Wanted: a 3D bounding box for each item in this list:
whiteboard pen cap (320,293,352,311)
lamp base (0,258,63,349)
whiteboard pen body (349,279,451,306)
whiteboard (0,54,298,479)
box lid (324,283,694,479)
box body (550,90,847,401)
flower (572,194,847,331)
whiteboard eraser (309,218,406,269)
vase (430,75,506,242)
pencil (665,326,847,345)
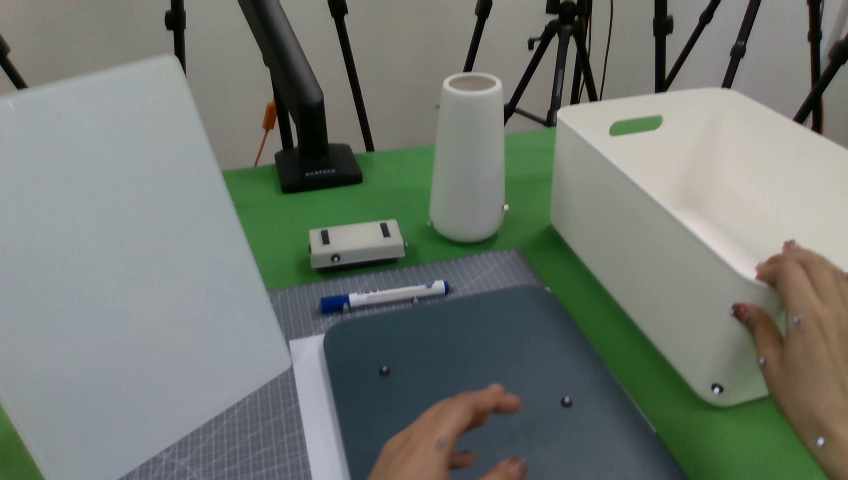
[{"bbox_3d":[-0.096,0.068,0.665,0.033,0.018,0.018,-5,35,-12],"label":"whiteboard pen cap"},{"bbox_3d":[-0.488,0.007,0.610,0.178,0.182,0.160,13,37,22],"label":"lamp base"},{"bbox_3d":[-0.039,0.060,0.677,0.141,0.017,0.017,-8,35,-11],"label":"whiteboard pen body"},{"bbox_3d":[-0.280,0.024,0.527,0.217,0.307,0.143,-30,26,-35],"label":"whiteboard"},{"bbox_3d":[0.067,0.170,0.524,0.264,0.015,0.367,-10,36,-14],"label":"box lid"},{"bbox_3d":[0.325,-0.018,0.668,0.255,0.162,0.360,-11,36,-14],"label":"box body"},{"bbox_3d":[0.336,0.029,0.717,0.358,0.038,0.044,31,39,32],"label":"flower"},{"bbox_3d":[-0.082,0.006,0.738,0.113,0.042,0.055,-9,34,-11],"label":"whiteboard eraser"},{"bbox_3d":[0.058,-0.097,0.749,0.098,0.201,0.097,1,35,0],"label":"vase"},{"bbox_3d":[0.346,0.099,0.622,0.194,0.012,0.012,3,35,2],"label":"pencil"}]
